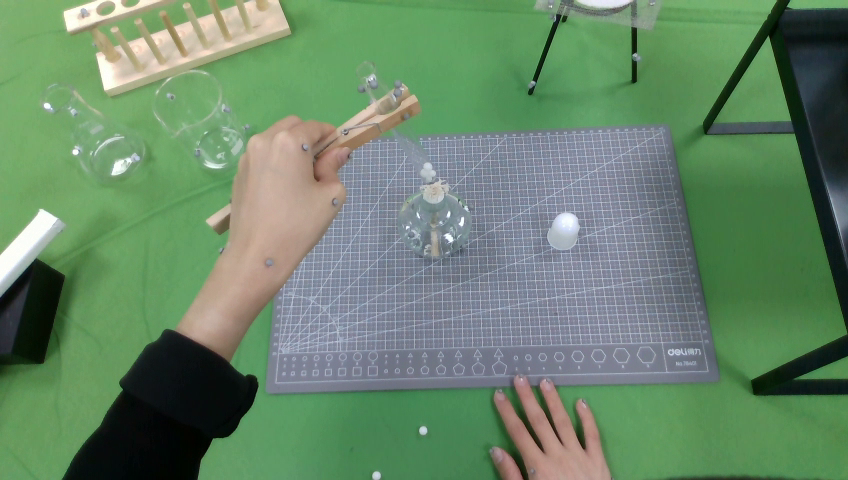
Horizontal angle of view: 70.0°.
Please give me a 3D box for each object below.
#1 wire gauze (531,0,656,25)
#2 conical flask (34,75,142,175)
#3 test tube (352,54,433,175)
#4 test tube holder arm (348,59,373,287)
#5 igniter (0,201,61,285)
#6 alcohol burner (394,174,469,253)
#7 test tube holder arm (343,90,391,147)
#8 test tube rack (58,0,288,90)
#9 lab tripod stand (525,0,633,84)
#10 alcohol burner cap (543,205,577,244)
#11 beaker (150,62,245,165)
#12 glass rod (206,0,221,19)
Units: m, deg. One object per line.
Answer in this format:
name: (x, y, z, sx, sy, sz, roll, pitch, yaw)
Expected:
wire gauze: (0.187, -0.281, 0.628, 0.121, 0.011, 0.124, 19, 70, 8)
conical flask: (-0.376, -0.131, 0.672, 0.075, 0.123, 0.075, -1, 67, 3)
test tube: (-0.020, -0.093, 0.484, 0.017, 0.152, 0.017, -8, 64, 16)
test tube holder arm: (-0.051, -0.051, 0.481, 0.015, 0.013, 0.178, -1, 97, -25)
igniter: (-0.464, 0.076, 0.591, 0.057, 0.025, 0.275, 25, 70, 22)
alcohol burner: (0.007, -0.033, 0.616, 0.078, 0.120, 0.077, 0, 66, 1)
test tube holder arm: (-0.046, -0.088, 0.466, 0.015, 0.088, 0.010, 2, 71, -22)
test tube rack: (-0.302, -0.276, 0.748, 0.242, 0.086, 0.066, -21, 68, -6)
lab tripod stand: (0.183, -0.253, 0.690, 0.148, 0.132, 0.147, 0, 66, 1)
alcohol burner cap: (0.146, -0.019, 0.643, 0.034, 0.048, 0.033, -1, 68, 2)
beaker: (-0.250, -0.134, 0.680, 0.074, 0.101, 0.083, 12, 69, 8)
glass rod: (-0.282, -0.335, 0.700, 0.008, 0.201, 0.008, -4, 61, 8)
